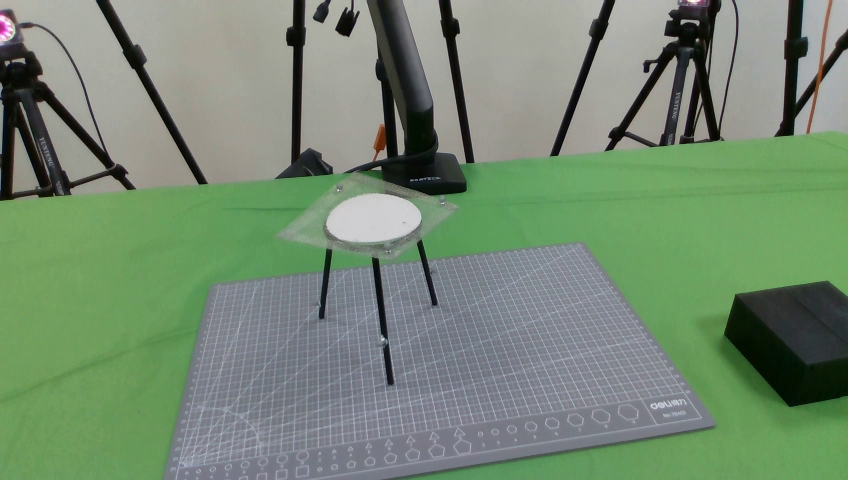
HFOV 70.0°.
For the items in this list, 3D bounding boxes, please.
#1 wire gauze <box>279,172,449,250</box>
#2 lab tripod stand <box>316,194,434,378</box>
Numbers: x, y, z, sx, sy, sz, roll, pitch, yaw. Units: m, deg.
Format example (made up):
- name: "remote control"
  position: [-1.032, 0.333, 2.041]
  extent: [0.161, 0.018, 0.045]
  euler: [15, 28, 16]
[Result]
- name: "wire gauze"
  position: [-0.046, -0.032, 0.531]
  extent: [0.125, 0.011, 0.120]
  euler: [10, 29, 4]
- name: "lab tripod stand"
  position: [-0.046, 0.036, 0.579]
  extent: [0.148, 0.132, 0.147]
  euler: [0, 33, 0]
